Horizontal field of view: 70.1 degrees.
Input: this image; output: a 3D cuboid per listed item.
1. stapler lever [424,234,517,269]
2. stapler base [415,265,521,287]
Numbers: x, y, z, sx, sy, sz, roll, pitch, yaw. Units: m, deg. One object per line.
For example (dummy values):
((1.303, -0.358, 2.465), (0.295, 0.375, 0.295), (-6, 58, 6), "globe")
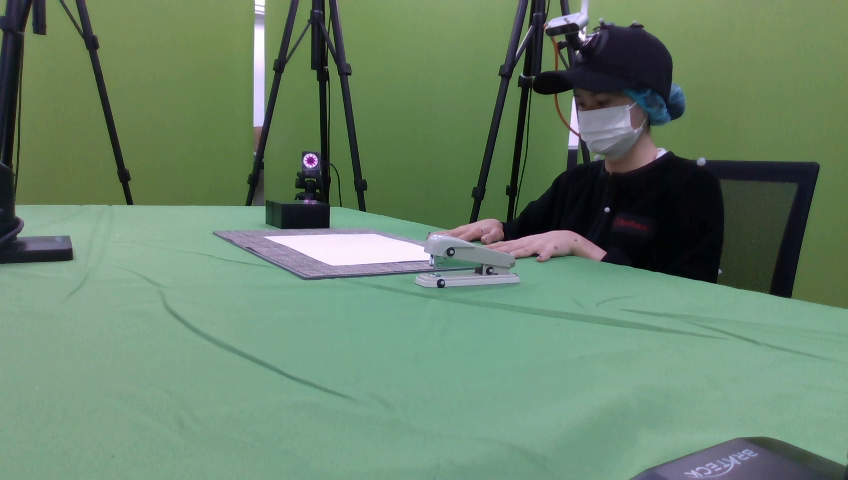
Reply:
((0.056, 0.015, 0.714), (0.119, 0.040, 0.026), (1, 9, -27), "stapler lever")
((0.053, 0.040, 0.715), (0.131, 0.024, 0.041), (1, 9, -27), "stapler base")
